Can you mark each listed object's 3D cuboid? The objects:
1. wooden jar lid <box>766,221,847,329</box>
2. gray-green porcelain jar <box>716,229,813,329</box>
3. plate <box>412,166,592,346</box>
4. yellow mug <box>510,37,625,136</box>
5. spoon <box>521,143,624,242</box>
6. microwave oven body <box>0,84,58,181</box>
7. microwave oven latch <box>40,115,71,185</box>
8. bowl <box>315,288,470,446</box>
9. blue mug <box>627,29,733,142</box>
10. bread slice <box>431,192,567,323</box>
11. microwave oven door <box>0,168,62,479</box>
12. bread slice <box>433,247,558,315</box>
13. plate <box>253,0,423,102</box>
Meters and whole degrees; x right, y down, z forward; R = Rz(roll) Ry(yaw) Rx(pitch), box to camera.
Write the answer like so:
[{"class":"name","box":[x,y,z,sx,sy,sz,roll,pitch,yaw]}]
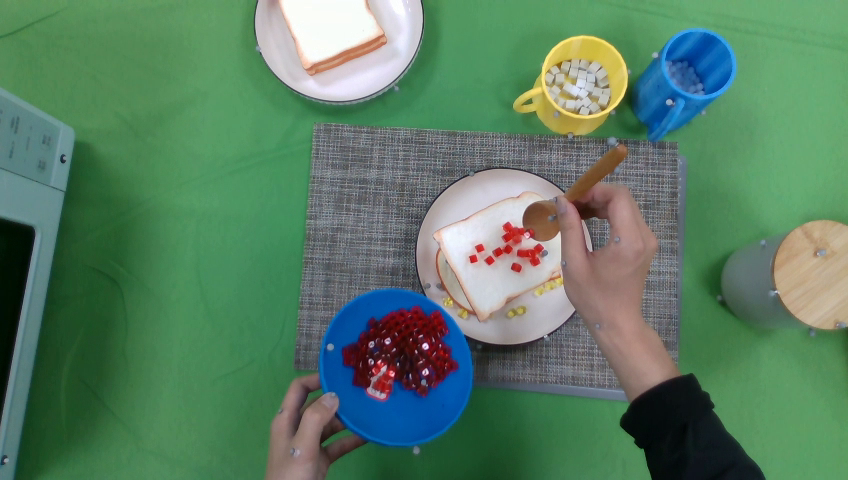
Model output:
[{"class":"wooden jar lid","box":[0.392,0.035,0.603,0.108,0.021,0.108,0,85,-1]},{"class":"gray-green porcelain jar","box":[0.393,0.045,0.665,0.106,0.127,0.105,0,82,0]},{"class":"plate","box":[0.089,0.019,0.710,0.209,0.038,0.208,0,83,0]},{"class":"yellow mug","box":[0.166,-0.177,0.724,0.131,0.064,0.099,-16,82,0]},{"class":"spoon","box":[0.125,-0.036,0.529,0.021,0.194,0.041,-34,82,-15]},{"class":"microwave oven body","box":[-0.608,0.039,0.597,0.326,0.261,0.440,6,83,1]},{"class":"microwave oven latch","box":[-0.440,-0.107,0.712,0.030,0.029,0.079,10,83,1]},{"class":"bowl","box":[-0.039,0.130,0.593,0.152,0.077,0.150,10,61,-19]},{"class":"blue mug","box":[0.287,-0.167,0.703,0.082,0.106,0.116,25,83,4]},{"class":"bread slice","box":[0.086,0.009,0.651,0.134,0.018,0.107,-31,90,-11]},{"class":"microwave oven door","box":[-0.468,0.096,0.585,0.039,0.244,0.354,6,82,2]},{"class":"bread slice","box":[0.079,0.028,0.712,0.131,0.019,0.104,-28,82,-6]},{"class":"plate","box":[-0.105,-0.267,0.751,0.208,0.039,0.207,0,83,0]}]
